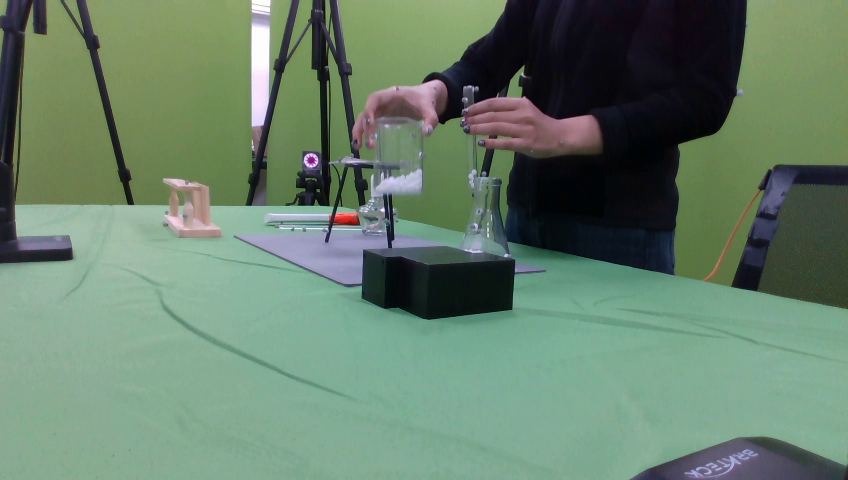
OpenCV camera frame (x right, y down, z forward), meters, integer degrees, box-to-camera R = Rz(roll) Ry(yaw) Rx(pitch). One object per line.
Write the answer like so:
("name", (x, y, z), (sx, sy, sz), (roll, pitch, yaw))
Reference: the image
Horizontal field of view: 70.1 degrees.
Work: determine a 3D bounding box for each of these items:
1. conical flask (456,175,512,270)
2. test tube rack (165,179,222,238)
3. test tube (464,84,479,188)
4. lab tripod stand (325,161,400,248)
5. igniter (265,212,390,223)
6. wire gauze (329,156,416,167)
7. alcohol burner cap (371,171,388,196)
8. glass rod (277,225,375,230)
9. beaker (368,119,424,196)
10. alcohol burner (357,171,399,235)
("conical flask", (0.082, -0.025, 0.801), (0.075, 0.122, 0.075), (2, 7, 0))
("test tube rack", (-0.423, -0.062, 1.098), (0.067, 0.085, 0.241), (-2, 9, -28))
("test tube", (0.070, -0.152, 0.884), (0.017, 0.150, 0.017), (-3, 5, 1))
("lab tripod stand", (-0.083, -0.060, 0.977), (0.148, 0.131, 0.148), (4, 8, 0))
("igniter", (-0.196, -0.048, 1.285), (0.278, 0.025, 0.057), (-2, -2, -30))
("wire gauze", (-0.079, -0.126, 0.972), (0.121, 0.011, 0.125), (4, 8, 5))
("alcohol burner cap", (-0.085, -0.104, 1.120), (0.034, 0.048, 0.034), (-5, 8, 1))
("glass rod", (-0.187, -0.024, 1.178), (0.201, 0.008, 0.008), (1, 6, -31))
("beaker", (-0.034, -0.111, 0.829), (0.083, 0.100, 0.074), (3, 5, 41))
("alcohol burner", (-0.085, -0.069, 1.125), (0.078, 0.119, 0.078), (3, 10, 0))
